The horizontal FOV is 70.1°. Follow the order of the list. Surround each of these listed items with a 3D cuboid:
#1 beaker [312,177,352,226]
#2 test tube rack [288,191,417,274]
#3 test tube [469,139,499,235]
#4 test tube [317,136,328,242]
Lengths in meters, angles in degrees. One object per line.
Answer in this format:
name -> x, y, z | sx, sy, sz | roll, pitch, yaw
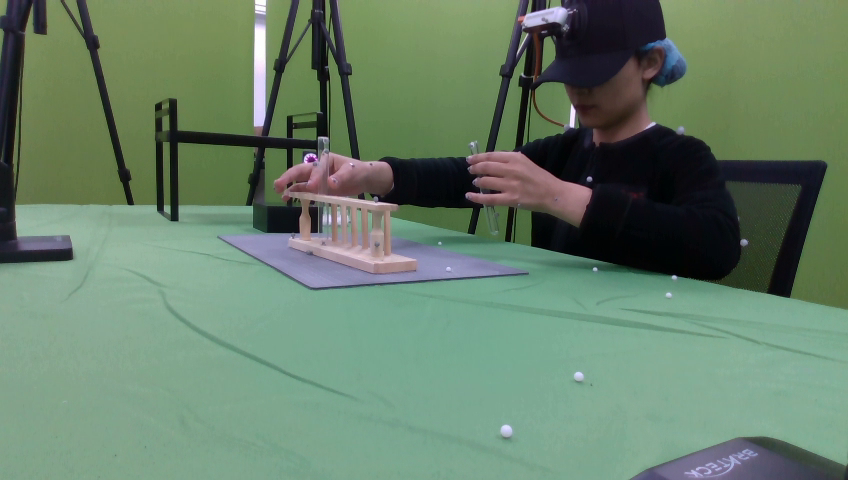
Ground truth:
beaker -> -0.194, -0.081, 1.266 | 0.084, 0.100, 0.073 | -3, 9, -29
test tube rack -> -0.106, -0.017, 0.835 | 0.067, 0.085, 0.241 | -3, 10, -37
test tube -> 0.093, -0.081, 0.932 | 0.017, 0.150, 0.017 | -13, 1, 1
test tube -> -0.144, -0.072, 0.856 | 0.017, 0.150, 0.017 | 1, 7, 0
